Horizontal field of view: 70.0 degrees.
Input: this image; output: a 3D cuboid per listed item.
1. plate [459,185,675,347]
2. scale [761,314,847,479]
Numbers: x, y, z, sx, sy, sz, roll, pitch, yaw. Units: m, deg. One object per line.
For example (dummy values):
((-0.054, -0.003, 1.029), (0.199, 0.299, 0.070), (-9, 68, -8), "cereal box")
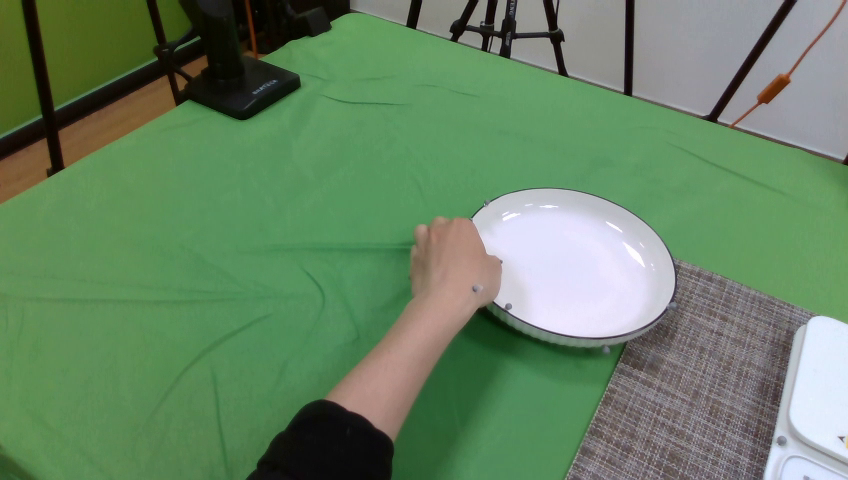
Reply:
((0.136, 0.024, 0.600), (0.209, 0.038, 0.207), (2, 44, -2), "plate")
((0.359, 0.155, 0.476), (0.148, 0.032, 0.200), (24, 48, 21), "scale")
